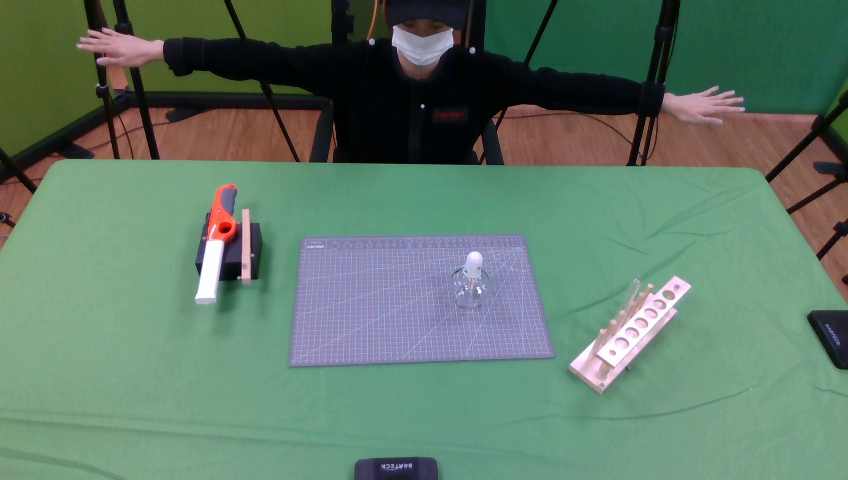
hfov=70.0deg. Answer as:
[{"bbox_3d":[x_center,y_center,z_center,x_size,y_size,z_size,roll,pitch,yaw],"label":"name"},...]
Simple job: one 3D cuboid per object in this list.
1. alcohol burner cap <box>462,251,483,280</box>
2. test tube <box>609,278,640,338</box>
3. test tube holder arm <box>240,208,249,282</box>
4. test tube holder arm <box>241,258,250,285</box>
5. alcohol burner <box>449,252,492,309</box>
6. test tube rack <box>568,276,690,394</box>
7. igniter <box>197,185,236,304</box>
[{"bbox_3d":[0.085,0.042,1.048,0.034,0.048,0.033,4,41,-3],"label":"alcohol burner cap"},{"bbox_3d":[0.331,0.115,1.007,0.017,0.151,0.017,2,45,-2],"label":"test tube"},{"bbox_3d":[-0.323,0.005,1.096,0.015,0.013,0.177,-1,48,-15],"label":"test tube holder arm"},{"bbox_3d":[-0.316,0.042,1.071,0.015,0.010,0.087,-1,48,-15],"label":"test tube holder arm"},{"bbox_3d":[0.084,0.066,1.074,0.078,0.120,0.077,1,44,-1],"label":"alcohol burner"},{"bbox_3d":[0.353,0.149,1.039,0.242,0.085,0.066,-34,56,-31],"label":"test tube rack"},{"bbox_3d":[-0.376,-0.002,1.101,0.057,0.025,0.274,-1,49,-7],"label":"igniter"}]
